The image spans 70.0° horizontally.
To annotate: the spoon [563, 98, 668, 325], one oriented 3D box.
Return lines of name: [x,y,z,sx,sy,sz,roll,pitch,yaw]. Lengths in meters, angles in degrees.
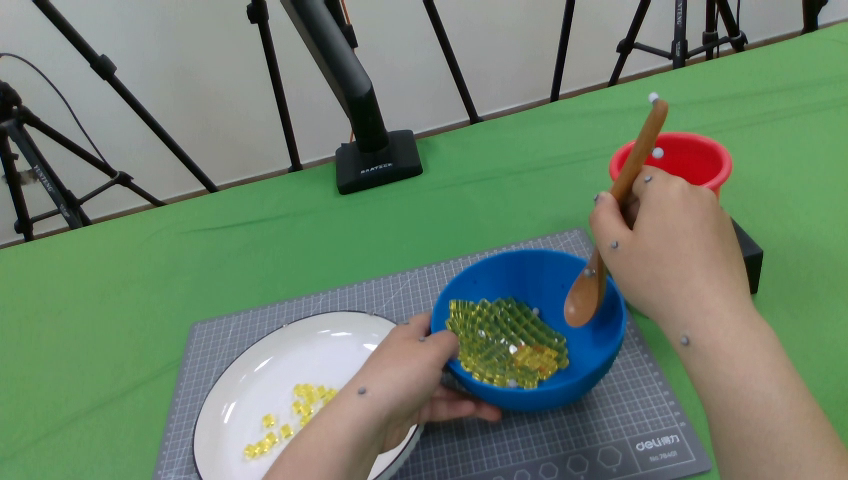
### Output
spoon: [0.126,-0.009,0.413,0.021,0.195,0.041,1,44,-3]

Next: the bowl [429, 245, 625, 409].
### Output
bowl: [0.085,0.082,0.491,0.151,0.077,0.150,-9,39,8]

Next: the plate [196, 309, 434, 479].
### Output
plate: [-0.091,0.147,0.528,0.207,0.039,0.205,-10,38,8]
